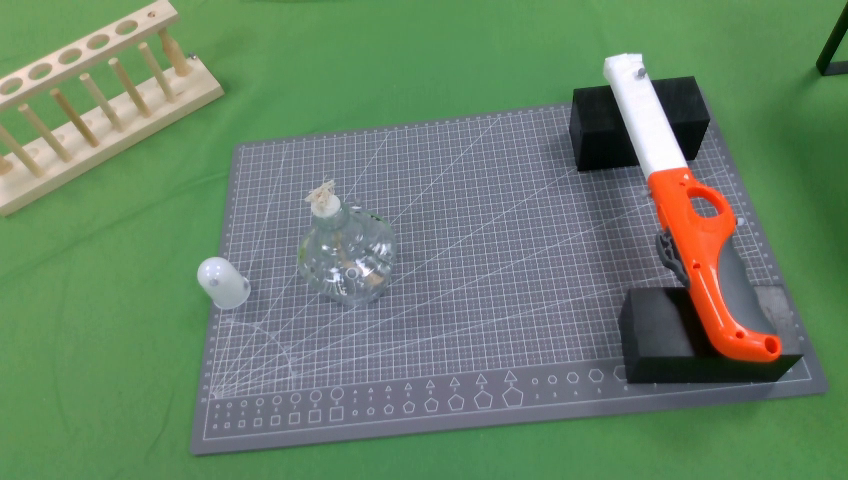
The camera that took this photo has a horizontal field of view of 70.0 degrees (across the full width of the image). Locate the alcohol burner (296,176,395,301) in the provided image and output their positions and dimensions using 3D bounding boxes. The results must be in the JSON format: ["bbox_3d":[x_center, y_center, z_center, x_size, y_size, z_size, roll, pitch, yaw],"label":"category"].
[{"bbox_3d":[-0.062,-0.004,0.453,0.078,0.120,0.077,-4,56,6],"label":"alcohol burner"}]

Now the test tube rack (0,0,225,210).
[{"bbox_3d":[-0.330,-0.137,0.591,0.242,0.086,0.066,-34,60,-14],"label":"test tube rack"}]

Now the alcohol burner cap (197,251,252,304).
[{"bbox_3d":[-0.163,0.028,0.489,0.034,0.048,0.033,-4,59,6],"label":"alcohol burner cap"}]

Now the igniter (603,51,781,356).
[{"bbox_3d":[0.182,-0.042,0.439,0.057,0.025,0.273,-9,56,3],"label":"igniter"}]
